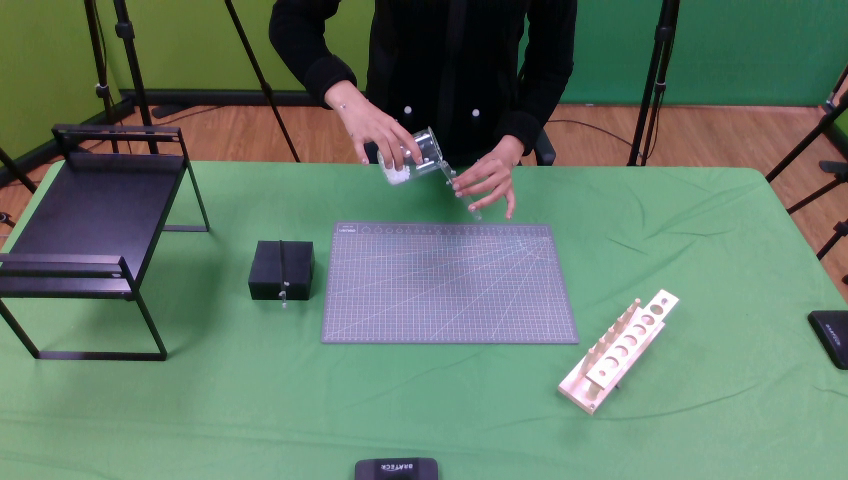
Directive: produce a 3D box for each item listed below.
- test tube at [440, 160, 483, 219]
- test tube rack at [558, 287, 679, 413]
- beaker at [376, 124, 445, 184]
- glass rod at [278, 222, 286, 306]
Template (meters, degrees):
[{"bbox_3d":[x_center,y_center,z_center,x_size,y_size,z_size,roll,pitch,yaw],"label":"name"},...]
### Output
[{"bbox_3d":[0.069,-0.088,1.087,0.017,0.151,0.017,-21,43,21],"label":"test tube"},{"bbox_3d":[0.326,0.170,1.009,0.066,0.085,0.242,36,54,26],"label":"test tube rack"},{"bbox_3d":[-0.023,-0.140,1.019,0.100,0.084,0.073,-20,49,8],"label":"beaker"},{"bbox_3d":[-0.255,0.039,1.081,0.008,0.008,0.198,-6,47,-10],"label":"glass rod"}]
